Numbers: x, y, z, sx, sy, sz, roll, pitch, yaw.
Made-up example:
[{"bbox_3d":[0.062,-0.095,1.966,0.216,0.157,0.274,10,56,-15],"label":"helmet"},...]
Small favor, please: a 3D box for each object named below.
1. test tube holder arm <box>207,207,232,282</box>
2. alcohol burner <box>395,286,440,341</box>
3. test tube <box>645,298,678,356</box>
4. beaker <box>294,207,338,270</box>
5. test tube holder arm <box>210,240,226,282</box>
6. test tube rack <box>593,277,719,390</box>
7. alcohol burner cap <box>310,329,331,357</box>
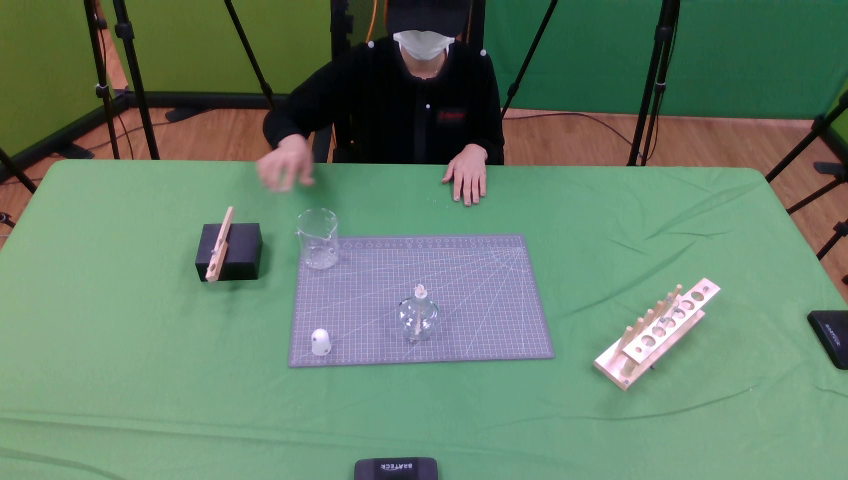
[{"bbox_3d":[-0.370,0.004,1.100,0.013,0.015,0.177,-5,47,0],"label":"test tube holder arm"},{"bbox_3d":[-0.010,0.116,1.018,0.078,0.119,0.077,3,47,-3],"label":"alcohol burner"},{"bbox_3d":[0.378,0.143,0.976,0.017,0.151,0.017,1,48,-1],"label":"test tube"},{"bbox_3d":[-0.196,0.003,1.123,0.074,0.101,0.083,-23,53,-24],"label":"beaker"},{"bbox_3d":[-0.362,0.036,1.069,0.010,0.015,0.087,-4,47,0],"label":"test tube holder arm"},{"bbox_3d":[0.401,0.148,1.043,0.242,0.085,0.066,-30,55,-29],"label":"test tube rack"},{"bbox_3d":[-0.173,0.168,1.004,0.034,0.048,0.033,2,46,-2],"label":"alcohol burner cap"}]
